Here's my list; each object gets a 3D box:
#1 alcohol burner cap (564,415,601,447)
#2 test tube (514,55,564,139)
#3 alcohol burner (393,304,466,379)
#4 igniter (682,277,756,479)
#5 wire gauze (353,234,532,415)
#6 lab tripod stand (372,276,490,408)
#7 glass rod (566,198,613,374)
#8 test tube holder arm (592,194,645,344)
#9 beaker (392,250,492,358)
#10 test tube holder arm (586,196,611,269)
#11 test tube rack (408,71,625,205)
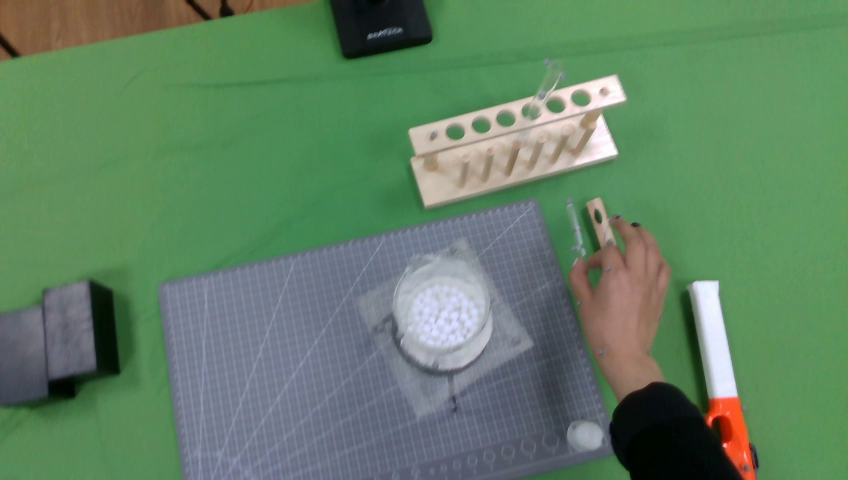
[{"bbox_3d":[0.166,0.198,0.628,0.034,0.048,0.033,0,72,0],"label":"alcohol burner cap"},{"bbox_3d":[0.122,-0.150,0.660,0.017,0.151,0.017,2,71,-5],"label":"test tube"},{"bbox_3d":[0.006,0.101,0.618,0.078,0.120,0.077,0,71,1],"label":"alcohol burner"},{"bbox_3d":[0.315,0.175,0.647,0.057,0.025,0.275,0,73,-11],"label":"igniter"},{"bbox_3d":[0.015,0.072,0.548,0.121,0.011,0.124,-30,77,-5],"label":"wire gauze"},{"bbox_3d":[0.011,0.095,0.610,0.148,0.132,0.147,0,74,1],"label":"lab tripod stand"},{"bbox_3d":[0.181,0.052,0.661,0.008,0.008,0.200,-15,94,-5],"label":"glass rod"},{"bbox_3d":[0.221,0.031,0.693,0.013,0.015,0.177,-22,73,27],"label":"test tube holder arm"},{"bbox_3d":[0.013,0.056,0.502,0.074,0.101,0.083,-28,74,-6],"label":"beaker"},{"bbox_3d":[0.206,-0.009,0.706,0.010,0.015,0.087,-21,74,28],"label":"test tube holder arm"},{"bbox_3d":[0.107,-0.116,0.702,0.242,0.085,0.066,-15,73,-5],"label":"test tube rack"}]
